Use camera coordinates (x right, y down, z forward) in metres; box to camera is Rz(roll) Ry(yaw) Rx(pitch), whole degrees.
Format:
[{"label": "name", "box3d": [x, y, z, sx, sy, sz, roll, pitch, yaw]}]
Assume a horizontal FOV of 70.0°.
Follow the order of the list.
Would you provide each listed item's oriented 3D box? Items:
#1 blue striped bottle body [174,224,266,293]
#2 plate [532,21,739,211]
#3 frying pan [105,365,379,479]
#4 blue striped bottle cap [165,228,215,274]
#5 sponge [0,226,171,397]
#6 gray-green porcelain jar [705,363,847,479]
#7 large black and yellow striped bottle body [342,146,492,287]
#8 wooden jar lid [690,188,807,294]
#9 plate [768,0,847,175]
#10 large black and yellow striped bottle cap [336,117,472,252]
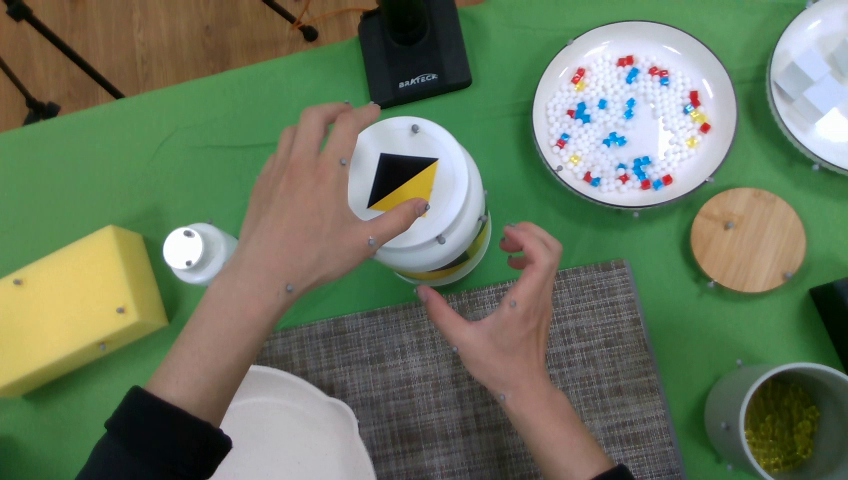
[{"label": "blue striped bottle body", "box3d": [-0.222, 0.020, 0.647, 0.063, 0.121, 0.063, -2, 79, 9]}, {"label": "plate", "box3d": [0.220, -0.130, 0.647, 0.209, 0.038, 0.208, -2, 79, 10]}, {"label": "frying pan", "box3d": [-0.112, 0.344, 0.572, 0.307, 0.103, 0.484, -42, 68, 0]}, {"label": "blue striped bottle cap", "box3d": [-0.231, 0.011, 0.597, 0.044, 0.021, 0.044, -1, 78, 7]}, {"label": "sponge", "box3d": [-0.412, 0.084, 0.697, 0.207, 0.061, 0.117, -26, 76, 3]}, {"label": "gray-green porcelain jar", "box3d": [0.313, 0.161, 0.530, 0.106, 0.127, 0.105, -2, 78, 9]}, {"label": "large black and yellow striped bottle body", "box3d": [-0.004, -0.029, 0.589, 0.130, 0.185, 0.130, -2, 78, 9]}, {"label": "wooden jar lid", "box3d": [0.325, 0.001, 0.614, 0.108, 0.021, 0.108, -2, 81, 9]}, {"label": "plate", "box3d": [0.458, -0.156, 0.613, 0.207, 0.039, 0.206, -2, 79, 10]}, {"label": "large black and yellow striped bottle cap", "box3d": [-0.017, -0.047, 0.508, 0.115, 0.019, 0.114, -1, 80, 9]}]
